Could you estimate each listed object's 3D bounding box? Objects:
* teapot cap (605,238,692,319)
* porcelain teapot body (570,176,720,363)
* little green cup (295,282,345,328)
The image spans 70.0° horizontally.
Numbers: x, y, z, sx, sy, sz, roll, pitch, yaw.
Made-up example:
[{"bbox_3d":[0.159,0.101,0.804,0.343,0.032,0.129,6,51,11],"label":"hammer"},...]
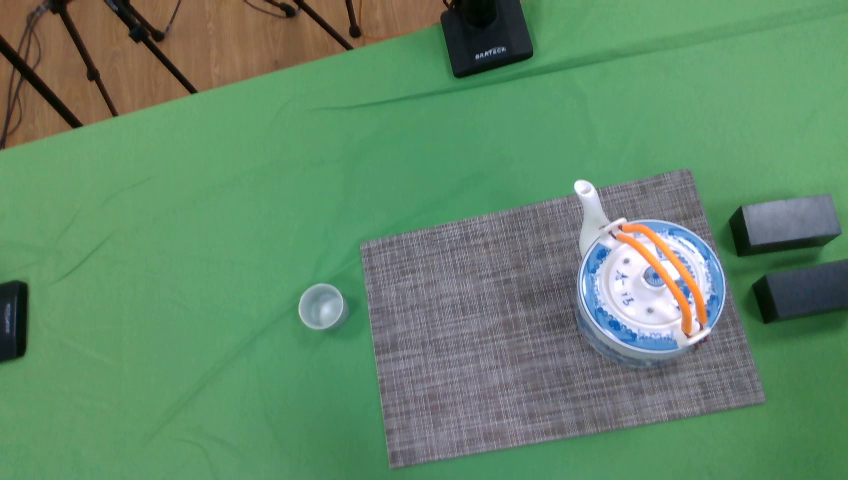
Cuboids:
[{"bbox_3d":[0.226,0.037,0.609,0.085,0.044,0.084,-3,71,9],"label":"teapot cap"},{"bbox_3d":[0.218,0.026,0.655,0.145,0.227,0.204,-34,70,0],"label":"porcelain teapot body"},{"bbox_3d":[-0.137,0.090,0.810,0.061,0.039,0.061,-3,72,11],"label":"little green cup"}]
